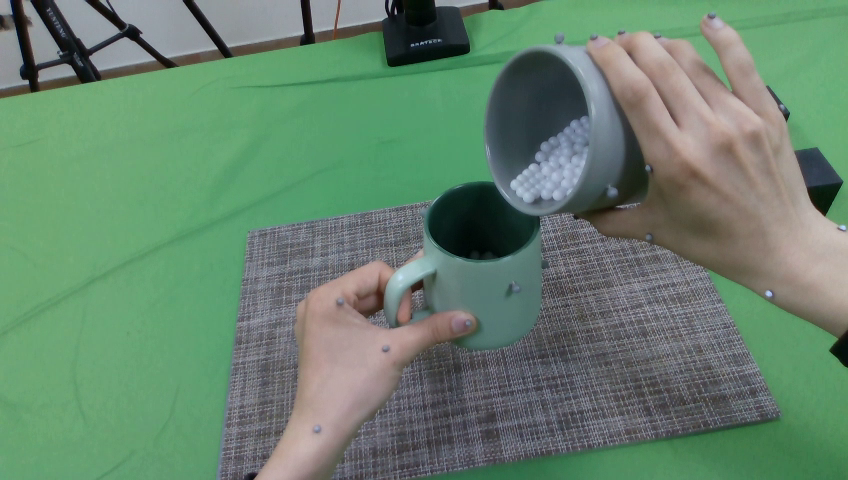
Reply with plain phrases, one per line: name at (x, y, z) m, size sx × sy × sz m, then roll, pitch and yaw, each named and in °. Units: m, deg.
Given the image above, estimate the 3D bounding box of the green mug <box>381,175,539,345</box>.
green mug at (0.026, 0.024, 0.442) m, size 0.125 × 0.106 × 0.091 m, roll -27°, pitch 52°, yaw -17°

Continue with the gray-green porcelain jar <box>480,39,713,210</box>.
gray-green porcelain jar at (0.118, -0.078, 0.407) m, size 0.127 × 0.106 × 0.104 m, roll -9°, pitch 44°, yaw -30°
